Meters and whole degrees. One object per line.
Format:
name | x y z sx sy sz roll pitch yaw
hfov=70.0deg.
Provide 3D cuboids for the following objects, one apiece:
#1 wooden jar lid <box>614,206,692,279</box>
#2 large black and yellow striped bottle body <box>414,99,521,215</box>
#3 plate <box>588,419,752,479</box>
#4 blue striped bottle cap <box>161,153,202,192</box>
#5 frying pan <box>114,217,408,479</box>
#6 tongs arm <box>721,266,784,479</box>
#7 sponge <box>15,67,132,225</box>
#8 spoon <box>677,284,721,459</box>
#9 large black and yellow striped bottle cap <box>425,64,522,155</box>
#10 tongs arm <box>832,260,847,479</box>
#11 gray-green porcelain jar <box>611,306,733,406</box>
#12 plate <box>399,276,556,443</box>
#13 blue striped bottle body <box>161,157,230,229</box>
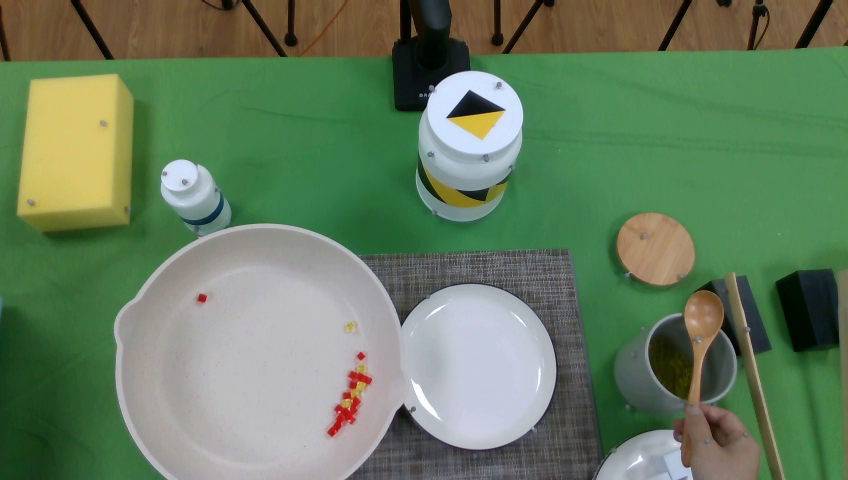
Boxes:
wooden jar lid | 0.318 0.005 0.849 0.108 0.021 0.107 1 71 -3
large black and yellow striped bottle body | 0.053 -0.124 0.793 0.131 0.185 0.130 1 69 -3
plate | 0.293 0.321 0.723 0.208 0.039 0.206 1 70 -3
blue striped bottle cap | -0.295 -0.083 0.734 0.044 0.021 0.044 1 72 -3
frying pan | -0.185 0.213 0.609 0.308 0.103 0.484 19 61 -17
tongs arm | 0.429 0.218 0.739 0.051 0.026 0.383 -7 81 -8
sponge | -0.473 -0.130 0.827 0.118 0.061 0.205 -7 71 -6
spoon | 0.294 0.140 0.663 0.041 0.022 0.192 9 68 21
large black and yellow striped bottle cap | 0.058 -0.155 0.714 0.115 0.019 0.114 1 71 -3
tongs arm | 0.513 0.215 0.747 0.028 0.028 0.386 8 80 -9
gray-green porcelain jar | 0.294 0.146 0.739 0.106 0.127 0.105 1 70 -2
plate | 0.061 0.149 0.767 0.209 0.038 0.207 1 70 -2
blue striped bottle body | -0.296 -0.064 0.782 0.063 0.121 0.062 1 69 -2
